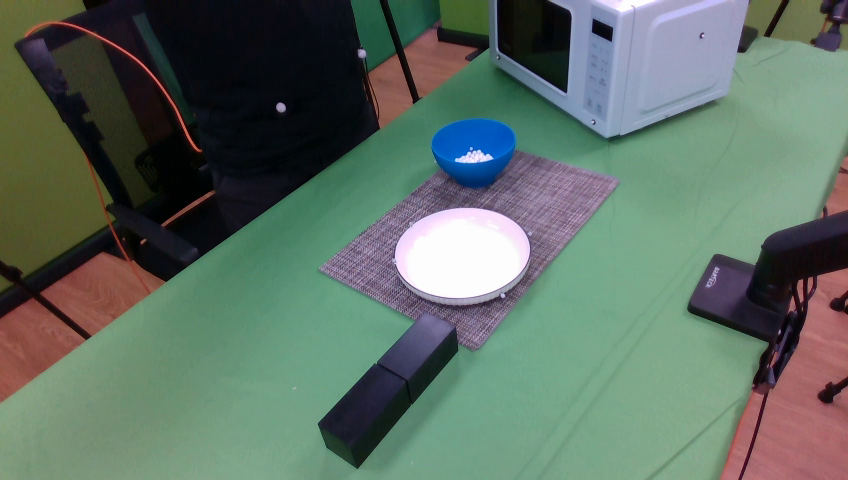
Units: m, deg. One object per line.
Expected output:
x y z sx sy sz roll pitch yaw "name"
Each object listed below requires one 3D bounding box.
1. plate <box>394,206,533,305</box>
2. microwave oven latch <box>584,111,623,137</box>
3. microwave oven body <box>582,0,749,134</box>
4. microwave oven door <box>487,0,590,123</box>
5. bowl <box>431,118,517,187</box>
0.059 0.025 0.915 0.207 0.039 0.206 -4 41 4 "plate"
0.337 -0.222 1.142 0.030 0.029 0.078 -21 42 -14 "microwave oven latch"
0.382 -0.444 1.246 0.327 0.261 0.437 -22 42 -16 "microwave oven body"
0.232 -0.420 1.230 0.039 0.245 0.352 -22 43 -16 "microwave oven door"
0.090 -0.147 1.080 0.151 0.077 0.150 -4 41 4 "bowl"
